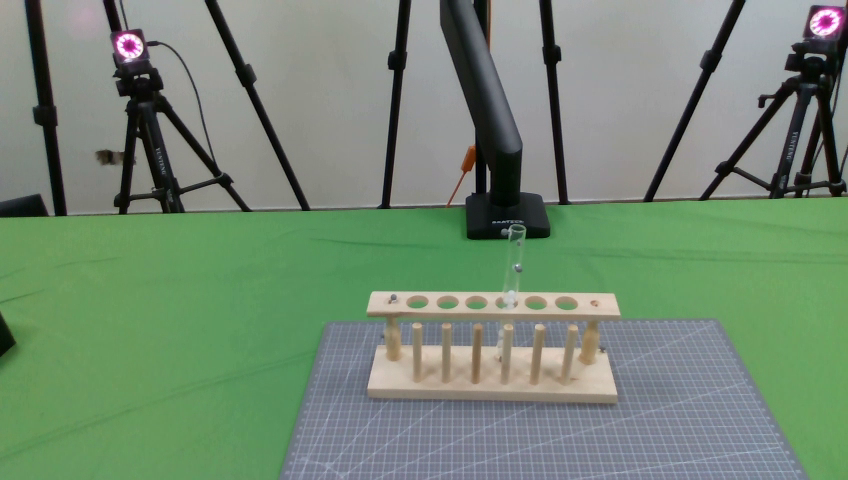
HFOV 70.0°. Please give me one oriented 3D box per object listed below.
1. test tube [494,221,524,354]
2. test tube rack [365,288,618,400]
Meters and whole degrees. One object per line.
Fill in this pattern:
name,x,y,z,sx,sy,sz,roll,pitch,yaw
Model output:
test tube,0.082,0.050,0.590,0.017,0.151,0.017,2,29,-1
test tube rack,0.064,0.102,0.602,0.242,0.086,0.066,0,32,5
